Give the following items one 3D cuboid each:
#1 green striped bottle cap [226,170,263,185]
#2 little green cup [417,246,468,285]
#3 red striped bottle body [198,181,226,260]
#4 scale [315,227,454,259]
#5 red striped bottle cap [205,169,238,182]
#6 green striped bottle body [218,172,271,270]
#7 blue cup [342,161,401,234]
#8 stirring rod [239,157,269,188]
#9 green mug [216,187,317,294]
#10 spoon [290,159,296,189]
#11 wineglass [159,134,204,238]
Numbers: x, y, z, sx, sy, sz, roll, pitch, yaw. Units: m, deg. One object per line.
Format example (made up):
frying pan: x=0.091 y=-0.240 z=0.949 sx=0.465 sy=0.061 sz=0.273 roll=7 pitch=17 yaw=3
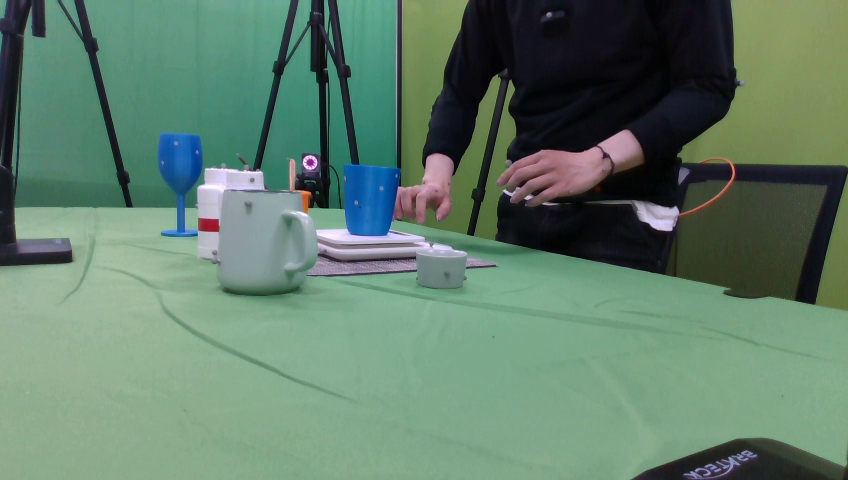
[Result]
green striped bottle cap: x=-0.222 y=-0.077 z=0.748 sx=0.044 sy=0.020 sz=0.044 roll=1 pitch=7 yaw=0
little green cup: x=0.021 y=0.029 z=0.701 sx=0.061 sy=0.038 sz=0.061 roll=1 pitch=6 yaw=0
red striped bottle body: x=-0.275 y=-0.036 z=0.827 sx=0.063 sy=0.119 sz=0.063 roll=1 pitch=7 yaw=0
scale: x=-0.066 y=0.001 z=0.906 sx=0.202 sy=0.031 sz=0.148 roll=-2 pitch=8 yaw=-31
red striped bottle cap: x=-0.274 y=-0.088 z=0.821 sx=0.044 sy=0.017 sz=0.044 roll=-1 pitch=6 yaw=0
green striped bottle body: x=-0.223 y=-0.025 z=0.755 sx=0.063 sy=0.119 sz=0.063 roll=1 pitch=7 yaw=0
blue cup: x=-0.079 y=-0.062 z=0.882 sx=0.093 sy=0.100 sz=0.092 roll=3 pitch=6 yaw=0
stirring rod: x=-0.309 y=-0.098 z=1.209 sx=0.006 sy=0.177 sz=0.014 roll=-39 pitch=29 yaw=-4
green mug: x=-0.157 y=0.000 z=0.629 sx=0.124 sy=0.105 sz=0.093 roll=7 pitch=9 yaw=37
spoon: x=-0.273 y=-0.102 z=1.252 sx=0.042 sy=0.193 sz=0.021 roll=7 pitch=-38 yaw=-17
wineglass: x=-0.415 y=-0.093 z=1.040 sx=0.074 sy=0.172 sz=0.073 roll=2 pitch=7 yaw=0
